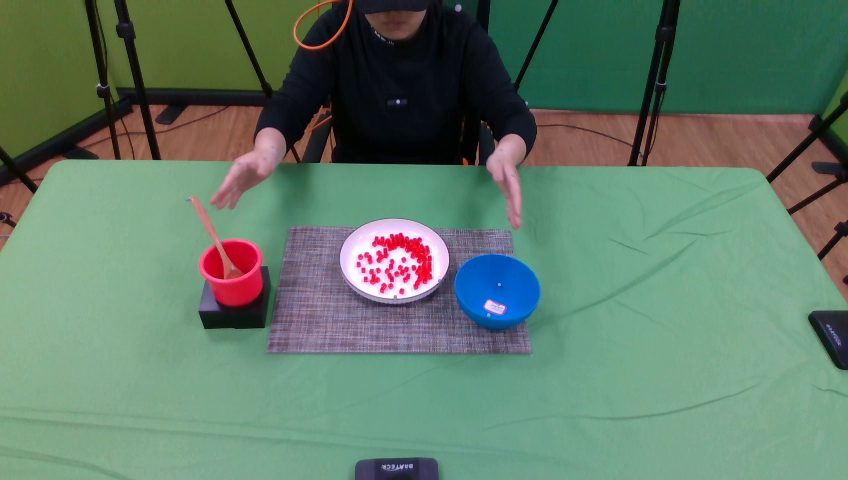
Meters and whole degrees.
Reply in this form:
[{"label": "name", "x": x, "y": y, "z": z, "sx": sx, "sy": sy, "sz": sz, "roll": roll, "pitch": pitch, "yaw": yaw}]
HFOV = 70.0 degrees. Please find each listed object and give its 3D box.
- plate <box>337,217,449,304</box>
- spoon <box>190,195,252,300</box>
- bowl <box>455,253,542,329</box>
[{"label": "plate", "x": -0.058, "y": 0.042, "z": 1.136, "sx": 0.208, "sy": 0.039, "sz": 0.206, "roll": 2, "pitch": 46, "yaw": -2}, {"label": "spoon", "x": -0.339, "y": 0.012, "z": 1.007, "sx": 0.041, "sy": 0.021, "sz": 0.194, "roll": -27, "pitch": 97, "yaw": -26}, {"label": "bowl", "x": 0.125, "y": 0.103, "z": 1.062, "sx": 0.151, "sy": 0.077, "sz": 0.150, "roll": 2, "pitch": 46, "yaw": -2}]
